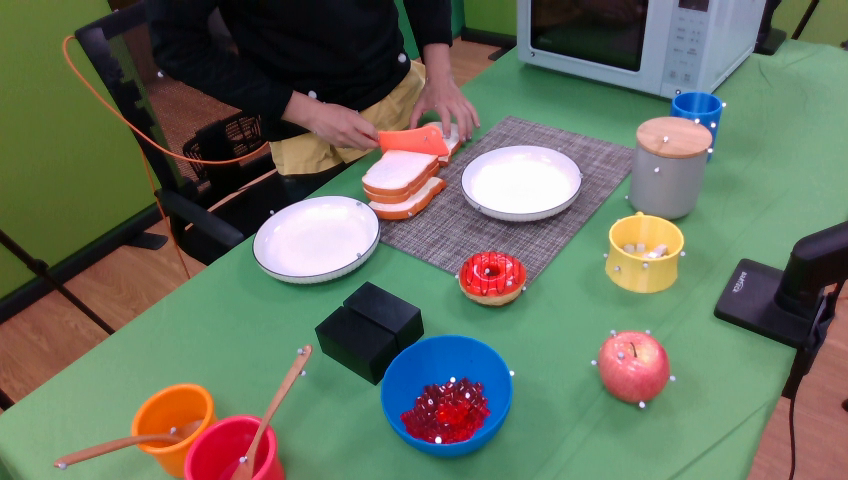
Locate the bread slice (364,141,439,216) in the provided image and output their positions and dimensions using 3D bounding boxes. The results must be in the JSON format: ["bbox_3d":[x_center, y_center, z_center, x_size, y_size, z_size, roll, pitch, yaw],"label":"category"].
[{"bbox_3d":[-0.048,-0.106,1.037,0.106,0.018,0.134,18,75,22],"label":"bread slice"}]

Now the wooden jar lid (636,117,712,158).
[{"bbox_3d":[0.377,-0.151,0.917,0.108,0.021,0.108,-2,42,2],"label":"wooden jar lid"}]

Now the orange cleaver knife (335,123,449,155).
[{"bbox_3d":[-0.059,-0.182,1.120,0.210,0.077,0.012,2,44,14],"label":"orange cleaver knife"}]

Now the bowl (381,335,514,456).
[{"bbox_3d":[0.029,0.192,0.701,0.151,0.077,0.150,-4,40,4],"label":"bowl"}]

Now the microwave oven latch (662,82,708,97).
[{"bbox_3d":[0.517,-0.298,1.202,0.078,0.029,0.030,27,52,34],"label":"microwave oven latch"}]

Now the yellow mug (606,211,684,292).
[{"bbox_3d":[0.318,0.008,0.883,0.100,0.064,0.130,0,40,9],"label":"yellow mug"}]

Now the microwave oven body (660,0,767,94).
[{"bbox_3d":[0.473,-0.516,1.313,0.438,0.261,0.327,26,51,34],"label":"microwave oven body"}]

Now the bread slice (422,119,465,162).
[{"bbox_3d":[0.025,-0.198,1.190,0.104,0.019,0.131,10,45,21],"label":"bread slice"}]

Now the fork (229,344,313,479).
[{"bbox_3d":[-0.173,0.205,0.662,0.028,0.019,0.207,29,94,36],"label":"fork"}]

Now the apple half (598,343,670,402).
[{"bbox_3d":[0.247,0.161,0.710,0.081,0.075,0.053,2,46,5],"label":"apple half"}]

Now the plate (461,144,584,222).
[{"bbox_3d":[0.168,-0.095,1.040,0.207,0.039,0.206,-4,40,4],"label":"plate"}]

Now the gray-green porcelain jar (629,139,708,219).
[{"bbox_3d":[0.383,-0.105,0.958,0.106,0.127,0.105,-4,41,4],"label":"gray-green porcelain jar"}]

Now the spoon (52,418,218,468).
[{"bbox_3d":[-0.308,0.220,0.663,0.041,0.195,0.021,20,92,29],"label":"spoon"}]

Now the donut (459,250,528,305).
[{"bbox_3d":[0.100,0.053,0.872,0.099,0.048,0.098,-5,40,4],"label":"donut"}]

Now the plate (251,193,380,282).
[{"bbox_3d":[-0.173,-0.001,0.984,0.209,0.038,0.208,-4,40,4],"label":"plate"}]

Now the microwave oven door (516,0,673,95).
[{"bbox_3d":[0.344,-0.458,1.256,0.353,0.245,0.039,26,51,33],"label":"microwave oven door"}]

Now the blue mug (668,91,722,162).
[{"bbox_3d":[0.474,-0.207,1.078,0.082,0.106,0.116,4,42,13],"label":"blue mug"}]

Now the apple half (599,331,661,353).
[{"bbox_3d":[0.249,0.134,0.738,0.081,0.081,0.032,-1,46,7],"label":"apple half"}]
